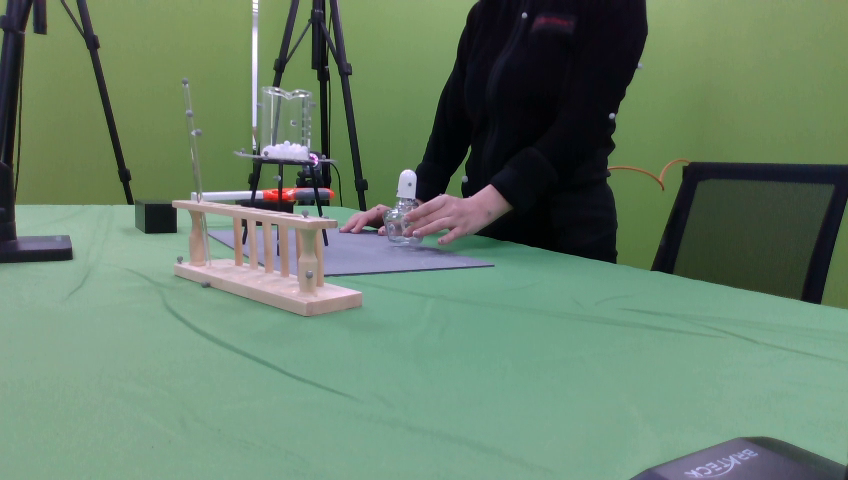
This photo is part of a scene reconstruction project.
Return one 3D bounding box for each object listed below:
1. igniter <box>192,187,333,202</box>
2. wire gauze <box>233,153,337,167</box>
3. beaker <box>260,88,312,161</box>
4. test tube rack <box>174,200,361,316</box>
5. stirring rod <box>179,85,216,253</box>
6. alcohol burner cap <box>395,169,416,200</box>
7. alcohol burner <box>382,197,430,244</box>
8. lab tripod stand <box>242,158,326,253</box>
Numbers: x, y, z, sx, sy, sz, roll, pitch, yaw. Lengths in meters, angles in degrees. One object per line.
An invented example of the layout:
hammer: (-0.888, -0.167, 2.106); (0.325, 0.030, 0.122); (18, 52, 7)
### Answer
igniter: (-0.316, -0.090, 1.214); (0.278, 0.025, 0.057); (-5, 12, -31)
wire gauze: (-0.205, -0.119, 0.887); (0.122, 0.011, 0.124); (2, 4, -32)
beaker: (-0.201, -0.166, 0.877); (0.074, 0.100, 0.083); (1, 7, -18)
test tube rack: (-0.169, 0.009, 0.622); (0.241, 0.085, 0.067); (9, 9, 41)
stirring rod: (-0.237, -0.073, 0.634); (0.006, 0.176, 0.014); (0, 10, 42)
alcohol burner cap: (-0.028, -0.089, 0.962); (0.034, 0.048, 0.034); (6, 6, 0)
alcohol burner: (-0.029, -0.053, 0.967); (0.078, 0.119, 0.078); (1, 4, 0)
lab tripod stand: (-0.207, -0.054, 0.895); (0.148, 0.131, 0.148); (3, 5, 0)
